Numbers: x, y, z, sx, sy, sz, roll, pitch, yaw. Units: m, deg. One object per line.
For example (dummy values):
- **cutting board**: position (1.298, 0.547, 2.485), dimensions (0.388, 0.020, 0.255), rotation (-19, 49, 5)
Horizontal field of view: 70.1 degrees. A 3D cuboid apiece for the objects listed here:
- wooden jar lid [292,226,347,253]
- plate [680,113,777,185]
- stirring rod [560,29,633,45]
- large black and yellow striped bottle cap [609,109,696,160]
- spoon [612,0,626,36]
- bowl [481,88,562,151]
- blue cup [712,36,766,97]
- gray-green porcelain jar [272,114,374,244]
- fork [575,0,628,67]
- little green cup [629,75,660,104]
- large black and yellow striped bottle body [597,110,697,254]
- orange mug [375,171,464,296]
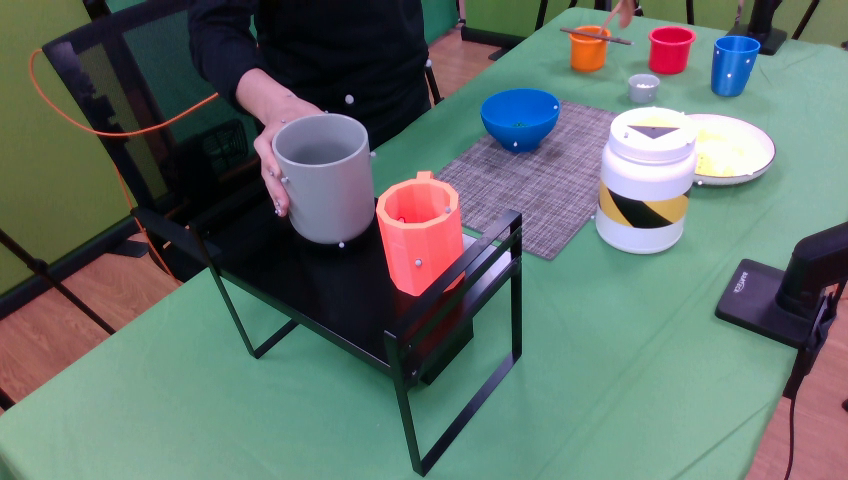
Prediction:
- **wooden jar lid**: position (-0.169, -0.015, 1.026), dimensions (0.108, 0.021, 0.108), rotation (-5, 39, 4)
- **plate**: position (0.506, -0.158, 1.073), dimensions (0.209, 0.038, 0.208), rotation (-5, 40, 4)
- **stirring rod**: position (0.381, -0.452, 1.345), dimensions (0.174, 0.006, 0.014), rotation (25, 48, 33)
- **large black and yellow striped bottle cap**: position (0.320, -0.150, 0.849), dimensions (0.115, 0.019, 0.114), rotation (-4, 39, 3)
- **spoon**: position (0.380, -0.504, 1.190), dimensions (0.022, 0.194, 0.041), rotation (-14, 18, -13)
- **bowl**: position (0.187, -0.223, 1.161), dimensions (0.151, 0.077, 0.150), rotation (-4, 40, 4)
- **blue cup**: position (0.627, -0.350, 1.227), dimensions (0.092, 0.100, 0.092), rotation (-4, 39, 4)
- **gray-green porcelain jar**: position (-0.114, -0.067, 0.714), dimensions (0.106, 0.127, 0.105), rotation (-1, 44, 1)
- **fork**: position (0.413, -0.481, 1.377), dimensions (0.207, 0.019, 0.028), rotation (-56, 43, 12)
- **little green cup**: position (0.457, -0.313, 1.260), dimensions (0.061, 0.039, 0.061), rotation (-4, 40, 4)
- **large black and yellow striped bottle body**: position (0.331, -0.086, 0.904), dimensions (0.131, 0.185, 0.130), rotation (-5, 41, 4)
- **orange mug**: position (-0.001, -0.016, 0.662), dimensions (0.083, 0.101, 0.125), rotation (-2, 45, 8)
